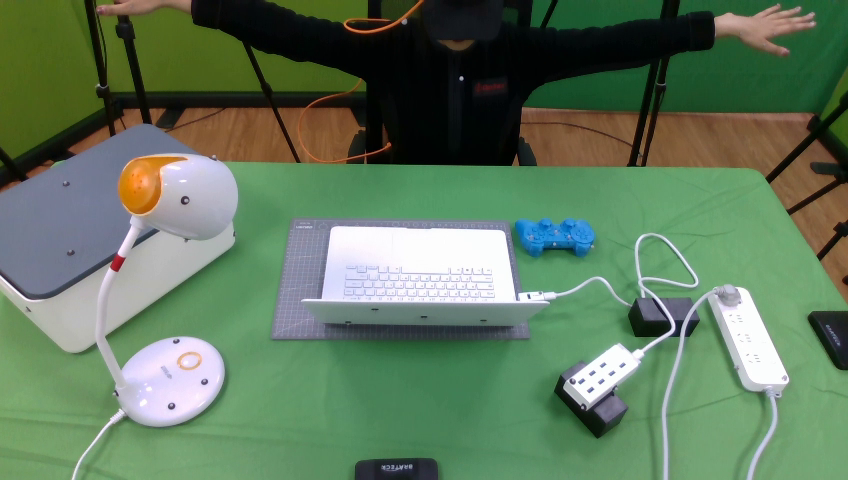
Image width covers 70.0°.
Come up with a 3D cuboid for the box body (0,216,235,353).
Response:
[{"bbox_3d":[-0.550,-0.007,1.068,0.253,0.161,0.363,30,51,23],"label":"box body"}]

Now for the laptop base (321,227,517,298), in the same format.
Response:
[{"bbox_3d":[-0.009,0.062,1.137,0.354,0.023,0.234,1,42,-3],"label":"laptop base"}]

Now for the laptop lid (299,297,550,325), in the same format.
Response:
[{"bbox_3d":[-0.002,0.114,0.943,0.357,0.242,0.013,1,74,-4],"label":"laptop lid"}]

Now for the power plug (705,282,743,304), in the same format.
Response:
[{"bbox_3d":[0.539,0.097,1.098,0.072,0.053,0.035,8,47,8],"label":"power plug"}]

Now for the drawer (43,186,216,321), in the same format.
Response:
[{"bbox_3d":[-0.526,0.018,1.096,0.194,0.073,0.211,28,52,19],"label":"drawer"}]

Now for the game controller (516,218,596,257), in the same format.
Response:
[{"bbox_3d":[0.267,-0.015,1.212,0.155,0.052,0.096,0,50,-3],"label":"game controller"}]

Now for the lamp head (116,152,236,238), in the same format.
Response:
[{"bbox_3d":[-0.315,-0.057,0.747,0.112,0.112,0.123,26,10,20],"label":"lamp head"}]

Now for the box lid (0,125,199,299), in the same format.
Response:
[{"bbox_3d":[-0.540,-0.068,1.016,0.262,0.015,0.371,30,51,23],"label":"box lid"}]

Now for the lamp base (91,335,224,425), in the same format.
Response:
[{"bbox_3d":[-0.401,0.170,0.892,0.160,0.181,0.179,30,53,23],"label":"lamp base"}]

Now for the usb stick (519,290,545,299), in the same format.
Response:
[{"bbox_3d":[0.186,0.108,1.086,0.059,0.027,0.021,-7,47,1],"label":"usb stick"}]

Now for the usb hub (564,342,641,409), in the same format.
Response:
[{"bbox_3d":[0.278,0.208,0.942,0.125,0.025,0.049,-27,52,-28],"label":"usb hub"}]

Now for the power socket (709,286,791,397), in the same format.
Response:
[{"bbox_3d":[0.568,0.167,1.064,0.072,0.033,0.225,2,46,-1],"label":"power socket"}]

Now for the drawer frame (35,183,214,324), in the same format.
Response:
[{"bbox_3d":[-0.531,0.018,1.092,0.201,0.083,0.213,29,52,21],"label":"drawer frame"}]
